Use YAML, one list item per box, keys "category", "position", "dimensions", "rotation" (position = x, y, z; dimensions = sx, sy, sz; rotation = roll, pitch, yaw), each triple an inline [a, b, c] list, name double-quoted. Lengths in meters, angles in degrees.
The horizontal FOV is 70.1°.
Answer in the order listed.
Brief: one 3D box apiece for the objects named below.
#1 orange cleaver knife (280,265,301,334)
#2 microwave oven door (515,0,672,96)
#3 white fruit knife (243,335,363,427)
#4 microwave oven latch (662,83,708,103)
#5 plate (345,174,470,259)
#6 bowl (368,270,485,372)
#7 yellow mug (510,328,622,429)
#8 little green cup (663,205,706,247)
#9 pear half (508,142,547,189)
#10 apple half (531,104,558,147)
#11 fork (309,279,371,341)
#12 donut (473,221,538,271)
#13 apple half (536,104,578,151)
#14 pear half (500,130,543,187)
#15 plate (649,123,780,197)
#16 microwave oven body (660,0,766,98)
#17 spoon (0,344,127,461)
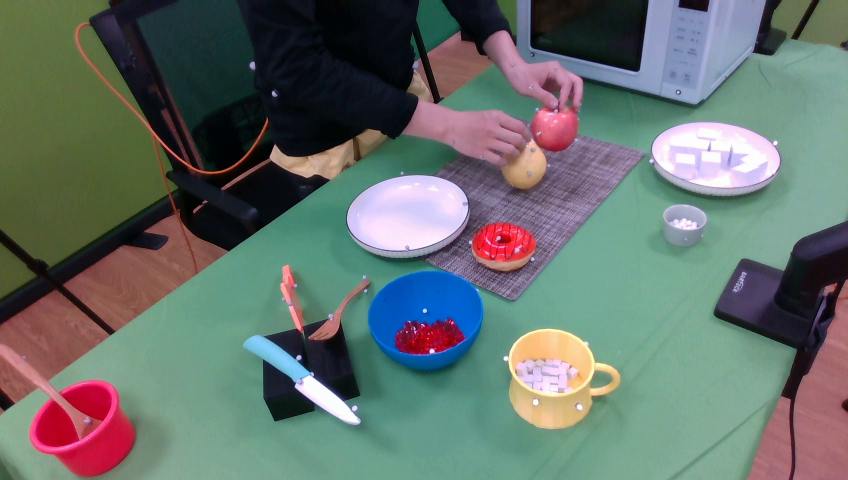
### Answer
- category: "orange cleaver knife"
  position: [-0.188, 0.081, 0.862]
  dimensions: [0.012, 0.077, 0.210]
  rotation: [-20, 12, -9]
- category: "microwave oven door"
  position: [0.343, -0.455, 1.259]
  dimensions: [0.353, 0.245, 0.039]
  rotation: [26, 51, 33]
- category: "white fruit knife"
  position: [-0.148, 0.167, 0.729]
  dimensions: [0.206, 0.016, 0.027]
  rotation: [27, 80, 31]
- category: "microwave oven latch"
  position: [0.518, -0.296, 1.204]
  dimensions: [0.078, 0.029, 0.030]
  rotation: [28, 52, 35]
- category: "plate"
  position: [-0.026, -0.036, 1.004]
  dimensions: [0.209, 0.038, 0.208]
  rotation: [-4, 40, 4]
- category: "bowl"
  position: [0.007, 0.118, 0.791]
  dimensions: [0.151, 0.077, 0.150]
  rotation: [-5, 40, 4]
- category: "yellow mug"
  position: [0.168, 0.164, 0.721]
  dimensions: [0.130, 0.064, 0.099]
  rotation: [0, 40, 8]
- category: "little green cup"
  position: [0.396, -0.021, 0.926]
  dimensions: [0.061, 0.039, 0.061]
  rotation: [-4, 40, 4]
- category: "pear half"
  position: [0.178, -0.119, 1.008]
  dimensions: [0.071, 0.088, 0.031]
  rotation: [-20, 48, -19]
- category: "apple half"
  position: [0.210, -0.206, 1.076]
  dimensions: [0.032, 0.081, 0.081]
  rotation: [27, 51, 33]
- category: "fork"
  position: [-0.109, 0.093, 0.832]
  dimensions: [0.028, 0.018, 0.207]
  rotation: [-4, 19, 15]
- category: "donut"
  position: [0.123, 0.008, 0.923]
  dimensions: [0.099, 0.048, 0.098]
  rotation: [-3, 38, 3]
- category: "apple half"
  position: [0.239, -0.192, 1.054]
  dimensions: [0.053, 0.075, 0.081]
  rotation: [28, 40, 33]
- category: "pear half"
  position: [0.163, -0.148, 1.024]
  dimensions: [0.076, 0.110, 0.055]
  rotation: [-21, 49, -18]
- category: "plate"
  position: [0.497, -0.135, 1.046]
  dimensions: [0.207, 0.039, 0.206]
  rotation: [-4, 40, 4]
- category: "microwave oven body"
  position: [0.472, -0.513, 1.317]
  dimensions: [0.438, 0.261, 0.327]
  rotation: [26, 51, 34]
- category: "spoon"
  position: [-0.433, 0.191, 0.721]
  dimensions: [0.194, 0.021, 0.042]
  rotation: [47, 53, -6]
